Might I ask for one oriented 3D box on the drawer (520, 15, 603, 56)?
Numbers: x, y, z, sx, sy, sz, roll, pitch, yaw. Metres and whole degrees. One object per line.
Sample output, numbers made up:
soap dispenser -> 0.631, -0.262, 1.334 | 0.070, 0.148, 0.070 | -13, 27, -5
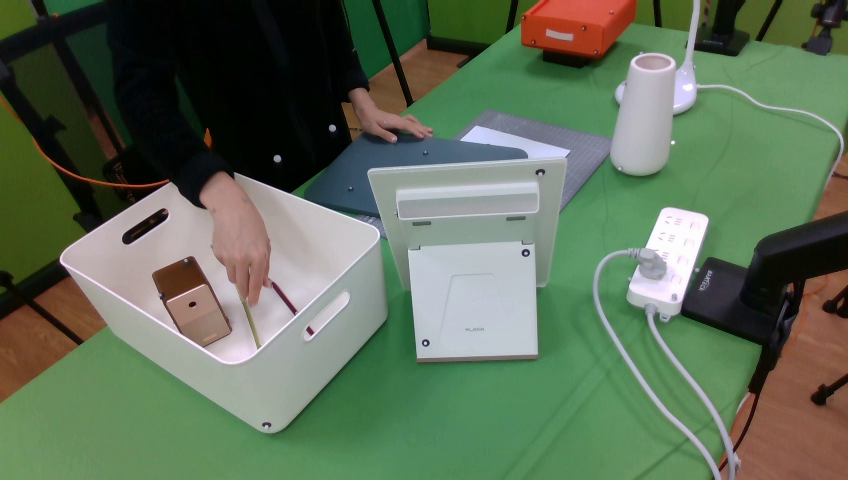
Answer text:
drawer -> 0.359, -0.517, 1.416 | 0.193, 0.073, 0.212 | 20, 47, 29

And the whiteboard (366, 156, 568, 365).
whiteboard -> 0.059, 0.050, 0.738 | 0.217, 0.307, 0.143 | -2, 60, 5

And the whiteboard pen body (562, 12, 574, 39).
whiteboard pen body -> 0.341, -0.506, 1.430 | 0.017, 0.017, 0.140 | -2, 43, 6

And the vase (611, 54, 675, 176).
vase -> 0.377, -0.209, 1.031 | 0.098, 0.201, 0.097 | -3, 40, 3

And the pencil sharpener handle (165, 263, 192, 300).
pencil sharpener handle -> -0.353, 0.054, 0.867 | 0.036, 0.068, 0.030 | -18, 40, -28

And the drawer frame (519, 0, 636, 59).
drawer frame -> 0.362, -0.518, 1.423 | 0.200, 0.083, 0.214 | 19, 48, 29

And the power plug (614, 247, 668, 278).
power plug -> 0.306, 0.031, 0.851 | 0.072, 0.053, 0.035 | 24, 49, 33

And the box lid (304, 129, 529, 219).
box lid -> -0.010, -0.117, 1.122 | 0.369, 0.015, 0.263 | 11, 44, 22

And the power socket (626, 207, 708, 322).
power socket -> 0.359, 0.025, 0.886 | 0.072, 0.033, 0.227 | 16, 46, 26

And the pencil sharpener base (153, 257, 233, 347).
pencil sharpener base -> -0.321, 0.088, 0.843 | 0.061, 0.107, 0.076 | -27, 44, -20

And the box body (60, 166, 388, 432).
box body -> -0.256, 0.065, 0.827 | 0.361, 0.161, 0.255 | 20, 48, 29

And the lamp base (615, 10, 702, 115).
lamp base -> 0.484, -0.364, 1.211 | 0.180, 0.181, 0.159 | -15, 41, -14

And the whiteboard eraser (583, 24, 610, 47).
whiteboard eraser -> 0.407, -0.479, 1.423 | 0.055, 0.042, 0.113 | -3, 10, 20

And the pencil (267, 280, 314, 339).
pencil -> -0.189, 0.106, 0.879 | 0.012, 0.012, 0.192 | -28, 43, -23

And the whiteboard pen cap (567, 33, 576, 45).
whiteboard pen cap -> 0.339, -0.463, 1.389 | 0.018, 0.018, 0.033 | -2, 44, 5

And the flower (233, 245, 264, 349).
flower -> -0.245, 0.106, 0.869 | 0.044, 0.038, 0.358 | 8, 29, -32
